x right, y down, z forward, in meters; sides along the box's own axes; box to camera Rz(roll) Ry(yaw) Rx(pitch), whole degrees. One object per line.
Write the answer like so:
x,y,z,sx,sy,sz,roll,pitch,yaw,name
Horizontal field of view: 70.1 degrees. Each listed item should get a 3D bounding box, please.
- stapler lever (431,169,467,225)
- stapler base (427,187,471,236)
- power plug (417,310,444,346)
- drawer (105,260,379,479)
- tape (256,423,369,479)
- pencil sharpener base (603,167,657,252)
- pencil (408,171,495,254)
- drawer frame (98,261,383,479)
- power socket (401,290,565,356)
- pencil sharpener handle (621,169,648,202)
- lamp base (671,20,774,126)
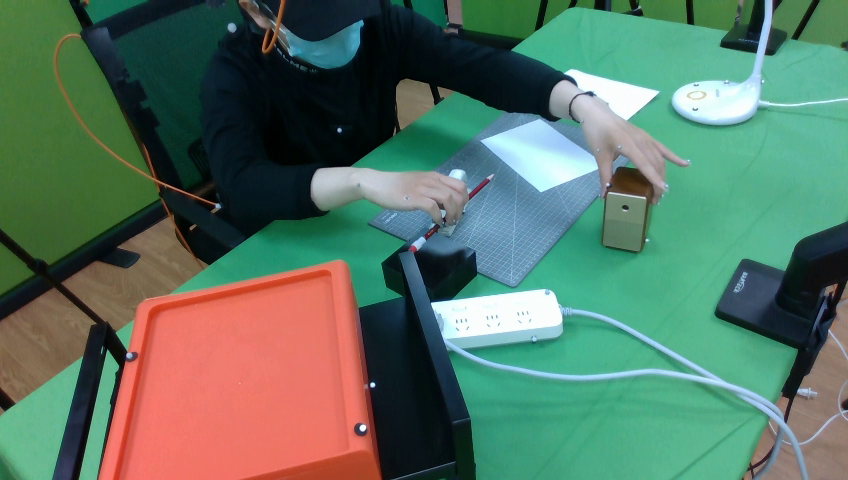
0.043,-0.075,1.010,0.026,0.040,0.118,9,44,21,stapler lever
0.045,-0.057,1.028,0.041,0.024,0.130,10,44,20,stapler base
0.006,0.122,0.785,0.035,0.053,0.072,-1,40,8,power plug
-0.150,0.127,0.525,0.195,0.073,0.210,-11,41,-5,drawer
-0.121,0.263,0.660,0.117,0.053,0.116,-4,40,4,tape
0.310,-0.047,0.911,0.061,0.107,0.077,11,43,24,pencil sharpener base
0.044,-0.044,0.881,0.012,0.012,0.194,28,60,35,pencil
-0.148,0.129,0.519,0.202,0.083,0.212,-12,41,-6,drawer frame
0.080,0.112,0.822,0.227,0.033,0.072,-6,41,0,power socket
0.324,-0.089,0.939,0.036,0.068,0.030,26,47,9,pencil sharpener handle
0.581,-0.332,1.154,0.179,0.181,0.160,2,41,7,lamp base
